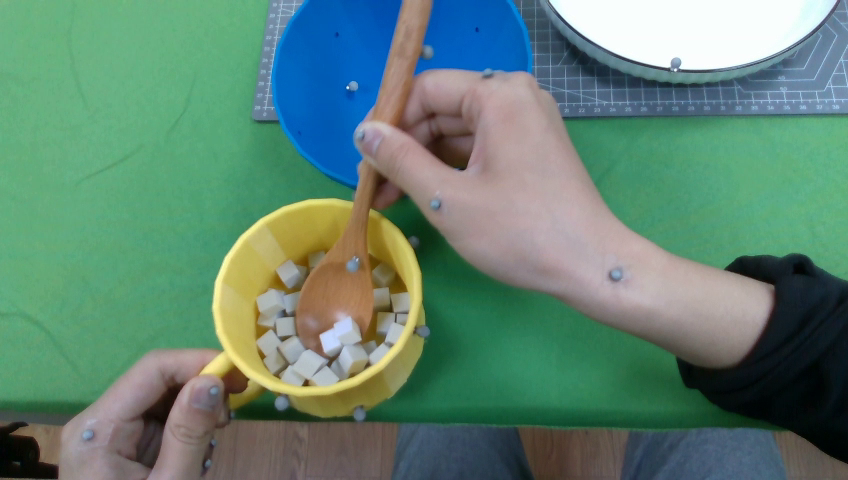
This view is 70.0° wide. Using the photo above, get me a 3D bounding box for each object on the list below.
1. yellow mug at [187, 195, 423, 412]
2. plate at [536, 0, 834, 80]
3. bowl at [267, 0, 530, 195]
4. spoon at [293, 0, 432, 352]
[{"bbox_3d":[-0.063,0.044,0.312,0.131,0.064,0.099,-38,72,-13],"label":"yellow mug"},{"bbox_3d":[0.171,-0.195,0.416,0.209,0.038,0.207,-2,71,5],"label":"plate"},{"bbox_3d":[-0.011,-0.090,0.378,0.151,0.077,0.150,-2,75,6],"label":"bowl"},{"bbox_3d":[-0.028,-0.027,0.290,0.041,0.021,0.194,23,117,7],"label":"spoon"}]
